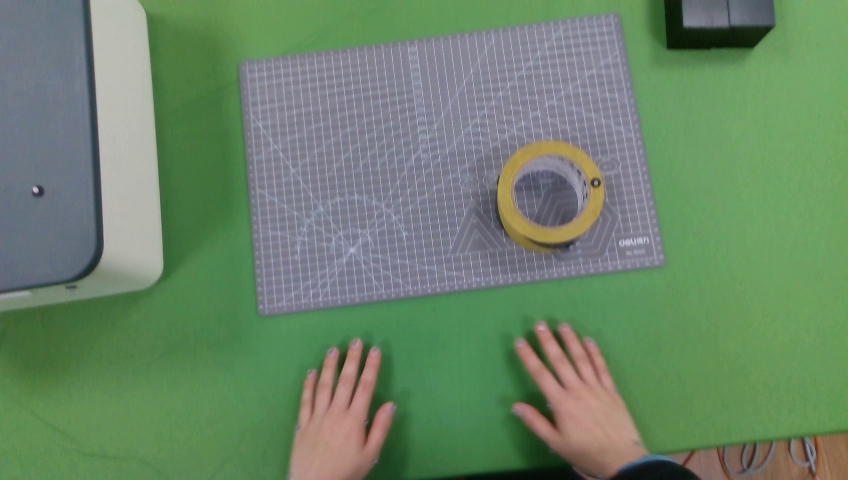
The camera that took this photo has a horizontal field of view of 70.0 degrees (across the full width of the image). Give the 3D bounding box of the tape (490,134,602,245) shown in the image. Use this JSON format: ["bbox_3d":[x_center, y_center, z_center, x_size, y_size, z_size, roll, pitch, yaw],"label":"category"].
[{"bbox_3d":[0.131,-0.052,0.652,0.117,0.053,0.116,0,81,3],"label":"tape"}]

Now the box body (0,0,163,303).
[{"bbox_3d":[-0.430,-0.119,0.626,0.254,0.161,0.362,-9,80,0],"label":"box body"}]

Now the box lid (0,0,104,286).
[{"bbox_3d":[-0.433,-0.135,0.554,0.263,0.015,0.370,-8,81,0],"label":"box lid"}]
